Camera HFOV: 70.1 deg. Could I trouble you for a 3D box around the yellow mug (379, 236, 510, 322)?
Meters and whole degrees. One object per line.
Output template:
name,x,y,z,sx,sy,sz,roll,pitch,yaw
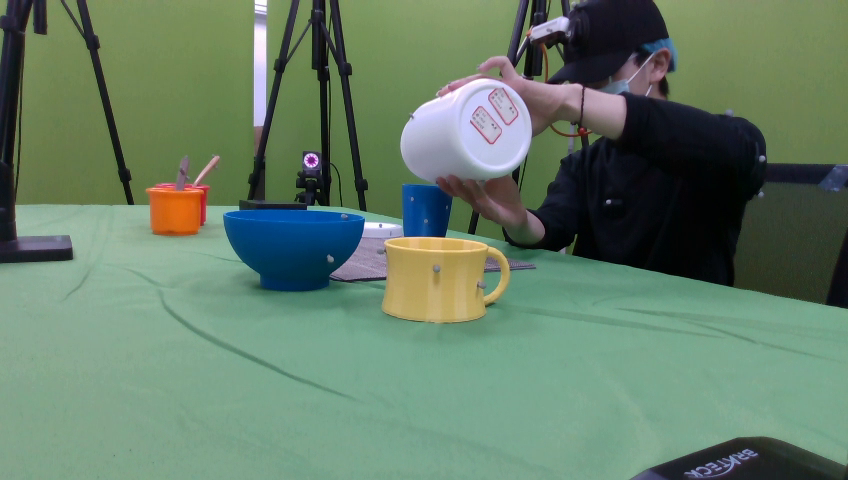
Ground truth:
yellow mug,0.024,0.034,0.575,0.131,0.064,0.099,0,7,-22

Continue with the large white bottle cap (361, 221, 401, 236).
large white bottle cap,-0.099,-0.021,1.123,0.115,0.018,0.115,3,7,0

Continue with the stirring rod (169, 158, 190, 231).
stirring rod,-0.427,-0.083,1.059,0.014,0.006,0.175,2,49,-13

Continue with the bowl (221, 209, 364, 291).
bowl,-0.142,0.011,0.660,0.151,0.077,0.151,2,7,0

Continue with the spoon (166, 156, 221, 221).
spoon,-0.447,-0.104,1.191,0.041,0.022,0.193,8,52,14

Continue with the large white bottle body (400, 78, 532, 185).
large white bottle body,0.051,-0.147,0.868,0.131,0.130,0.184,-1,0,-27

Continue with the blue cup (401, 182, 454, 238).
blue cup,0.002,-0.038,0.966,0.093,0.100,0.092,4,8,0
